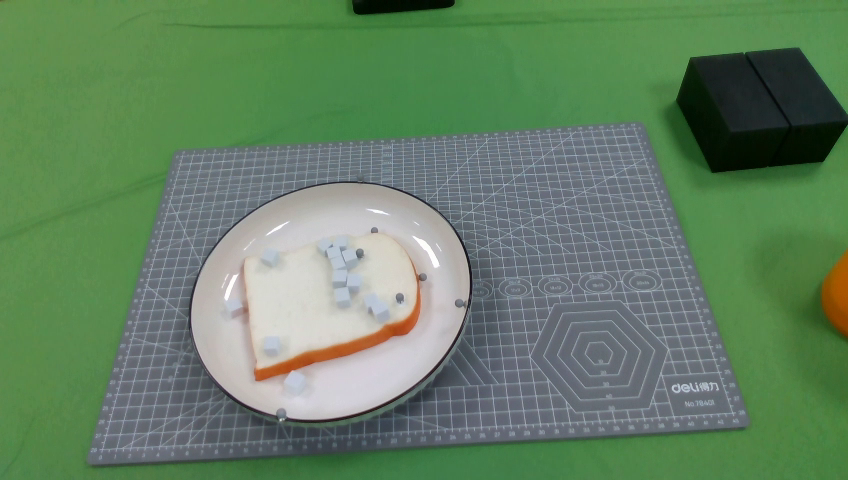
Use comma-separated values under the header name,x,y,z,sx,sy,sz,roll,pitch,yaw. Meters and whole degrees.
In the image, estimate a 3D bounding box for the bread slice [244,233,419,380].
name,x,y,z,sx,sy,sz,roll,pitch,yaw
bread slice,-0.071,0.040,0.463,0.132,0.019,0.103,-15,55,-7

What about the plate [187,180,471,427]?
name,x,y,z,sx,sy,sz,roll,pitch,yaw
plate,-0.068,0.043,0.458,0.209,0.038,0.207,-1,54,2

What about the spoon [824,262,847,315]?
name,x,y,z,sx,sy,sz,roll,pitch,yaw
spoon,0.364,0.003,0.393,0.193,0.022,0.041,-29,42,34
